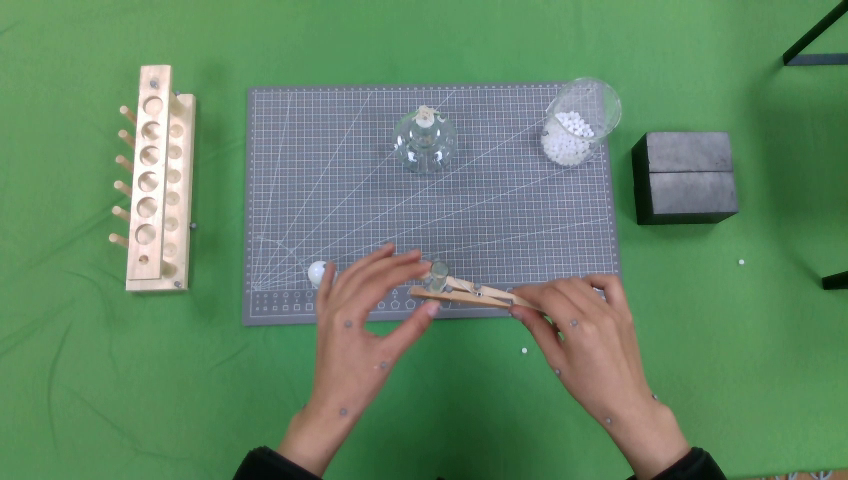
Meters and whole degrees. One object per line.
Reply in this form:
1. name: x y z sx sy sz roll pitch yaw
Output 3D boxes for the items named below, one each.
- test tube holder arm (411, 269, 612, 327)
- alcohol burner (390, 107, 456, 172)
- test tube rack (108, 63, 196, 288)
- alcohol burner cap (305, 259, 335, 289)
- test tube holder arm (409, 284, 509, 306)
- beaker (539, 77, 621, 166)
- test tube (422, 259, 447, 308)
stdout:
1. test tube holder arm: 0.075 0.051 0.526 0.178 0.015 0.013 12 81 0
2. alcohol burner: -0.001 -0.123 0.698 0.078 0.119 0.077 0 78 0
3. test tube rack: -0.313 -0.071 0.692 0.067 0.085 0.241 -1 78 -2
4. alcohol burner cap: -0.121 0.037 0.695 0.034 0.048 0.033 1 77 -3
5. test tube holder arm: 0.030 0.048 0.525 0.088 0.015 0.010 6 80 -1
6. beaker: 0.176 -0.134 0.714 0.084 0.100 0.073 -3 77 -1
7. test tube: 0.008 0.042 0.532 0.017 0.151 0.017 1 74 -2
